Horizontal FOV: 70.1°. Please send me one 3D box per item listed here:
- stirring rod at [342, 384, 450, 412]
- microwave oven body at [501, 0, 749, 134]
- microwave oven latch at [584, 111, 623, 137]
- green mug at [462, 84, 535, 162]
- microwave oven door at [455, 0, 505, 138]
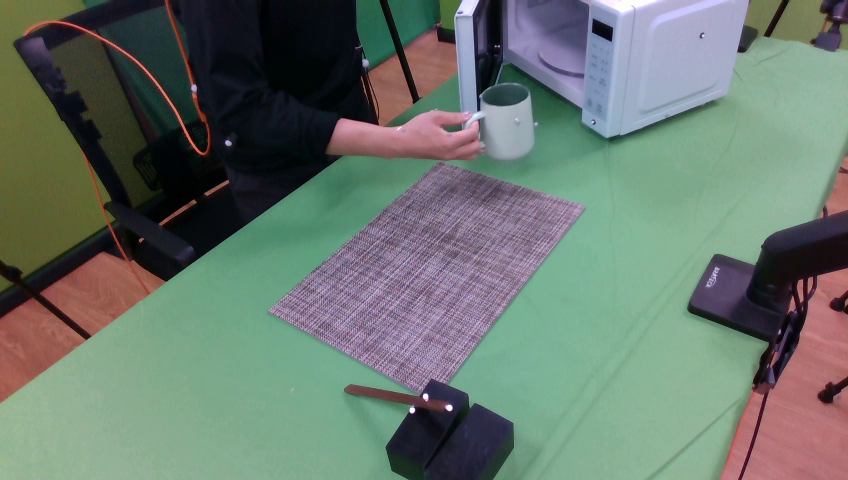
[{"bbox_3d":[-0.038,0.186,0.714,0.175,0.006,0.014,-3,22,43],"label":"stirring rod"},{"bbox_3d":[0.382,-0.444,1.246,0.327,0.261,0.437,-22,42,-16],"label":"microwave oven body"},{"bbox_3d":[0.337,-0.222,1.142,0.030,0.029,0.078,-21,42,-14],"label":"microwave oven latch"},{"bbox_3d":[0.121,-0.187,0.998,0.126,0.105,0.091,-22,43,-12],"label":"green mug"},{"bbox_3d":[0.121,-0.405,1.228,0.039,0.245,0.355,4,42,14],"label":"microwave oven door"}]
